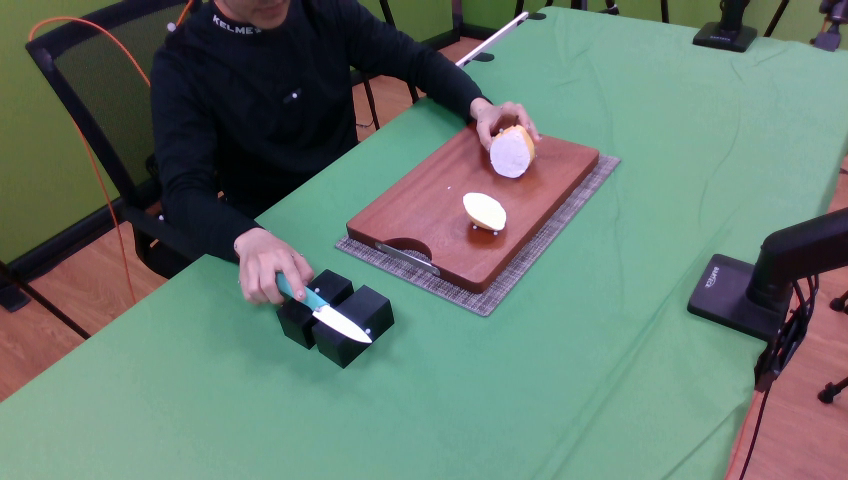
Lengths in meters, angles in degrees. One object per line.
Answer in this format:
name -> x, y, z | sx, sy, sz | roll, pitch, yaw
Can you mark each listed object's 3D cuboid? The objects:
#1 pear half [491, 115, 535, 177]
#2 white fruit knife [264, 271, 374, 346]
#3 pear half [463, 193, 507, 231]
pear half -> 0.156, -0.167, 1.029 | 0.076, 0.110, 0.056 | 17, 42, 12
white fruit knife -> -0.143, 0.091, 0.815 | 0.206, 0.016, 0.027 | 28, 74, 30
pear half -> 0.095, -0.038, 0.947 | 0.071, 0.031, 0.087 | -9, 52, -25
